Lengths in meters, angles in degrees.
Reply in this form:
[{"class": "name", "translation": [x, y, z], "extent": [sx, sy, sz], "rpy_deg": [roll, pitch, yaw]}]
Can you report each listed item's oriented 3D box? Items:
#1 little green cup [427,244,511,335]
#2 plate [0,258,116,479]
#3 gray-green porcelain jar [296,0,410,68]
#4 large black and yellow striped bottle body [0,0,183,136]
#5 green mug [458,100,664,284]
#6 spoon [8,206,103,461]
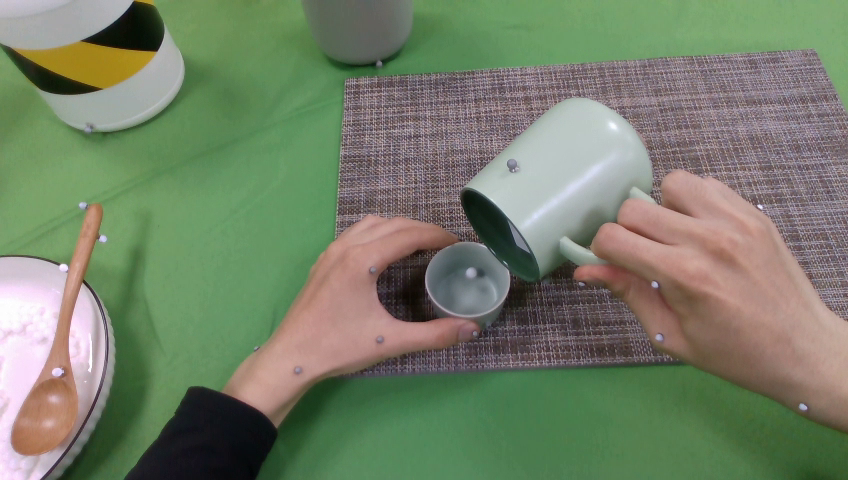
[{"class": "little green cup", "translation": [0.032, 0.038, 0.445], "extent": [0.061, 0.039, 0.061], "rpy_deg": [0, 55, 0]}, {"class": "plate", "translation": [-0.319, 0.110, 0.429], "extent": [0.209, 0.038, 0.207], "rpy_deg": [-1, 59, 3]}, {"class": "gray-green porcelain jar", "translation": [-0.068, -0.237, 0.570], "extent": [0.106, 0.127, 0.105], "rpy_deg": [-2, 59, 3]}, {"class": "large black and yellow striped bottle body", "translation": [-0.308, -0.196, 0.527], "extent": [0.131, 0.185, 0.129], "rpy_deg": [-2, 59, 3]}, {"class": "green mug", "translation": [0.097, -0.025, 0.398], "extent": [0.105, 0.093, 0.124], "rpy_deg": [-39, 44, -13]}, {"class": "spoon", "translation": [-0.258, 0.058, 0.438], "extent": [0.041, 0.022, 0.192], "rpy_deg": [-1, 67, 2]}]
